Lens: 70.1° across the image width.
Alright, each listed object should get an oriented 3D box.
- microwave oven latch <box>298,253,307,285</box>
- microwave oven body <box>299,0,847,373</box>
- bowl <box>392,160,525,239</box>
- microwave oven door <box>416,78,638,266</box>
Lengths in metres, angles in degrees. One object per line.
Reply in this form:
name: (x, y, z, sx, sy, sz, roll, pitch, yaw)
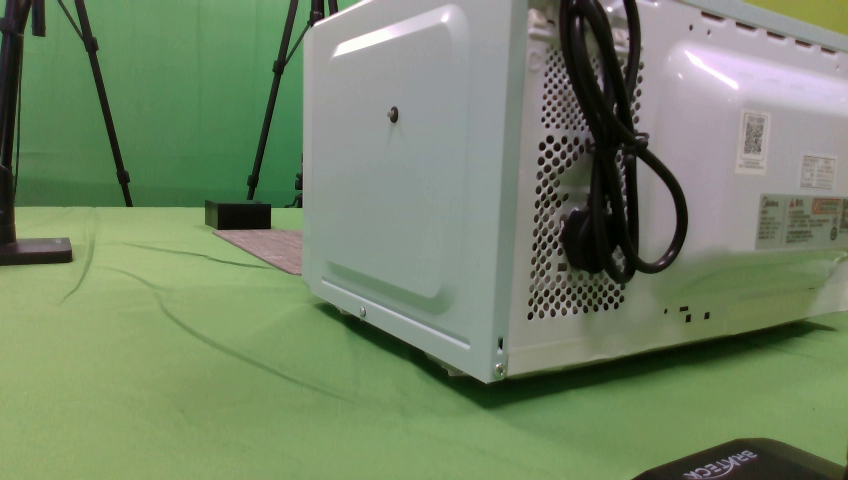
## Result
microwave oven latch: (-0.081, 0.027, 0.582, 0.079, 0.029, 0.030, -1, 7, -32)
microwave oven body: (0.151, -0.055, 0.543, 0.444, 0.260, 0.324, -2, 7, -33)
bowl: (0.036, -0.043, 0.684, 0.151, 0.077, 0.151, 5, 3, 0)
microwave oven door: (0.131, -0.105, 0.891, 0.354, 0.243, 0.039, 9, 10, 42)
